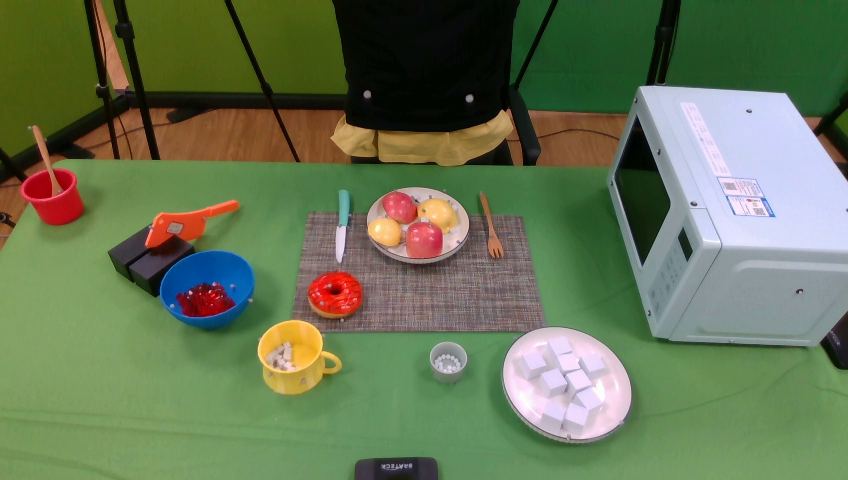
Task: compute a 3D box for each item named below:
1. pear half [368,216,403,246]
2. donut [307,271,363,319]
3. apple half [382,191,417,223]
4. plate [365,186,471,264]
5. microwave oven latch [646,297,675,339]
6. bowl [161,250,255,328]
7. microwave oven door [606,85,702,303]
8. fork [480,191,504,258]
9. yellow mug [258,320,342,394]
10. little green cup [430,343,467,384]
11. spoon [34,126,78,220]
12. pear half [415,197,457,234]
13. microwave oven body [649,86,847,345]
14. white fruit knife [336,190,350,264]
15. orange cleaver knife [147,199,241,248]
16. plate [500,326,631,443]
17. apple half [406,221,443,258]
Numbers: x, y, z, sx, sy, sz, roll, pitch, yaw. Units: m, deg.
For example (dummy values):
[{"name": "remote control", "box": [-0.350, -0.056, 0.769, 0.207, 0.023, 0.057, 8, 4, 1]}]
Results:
[{"name": "pear half", "box": [-0.070, -0.026, 1.183, 0.070, 0.031, 0.087, 33, 46, 0]}, {"name": "donut", "box": [-0.157, 0.097, 1.072, 0.099, 0.048, 0.098, 4, 45, -4]}, {"name": "apple half", "box": [-0.043, -0.072, 1.225, 0.081, 0.033, 0.081, 19, 41, -17]}, {"name": "plate", "box": [-0.013, -0.027, 1.207, 0.209, 0.038, 0.208, 2, 46, -2]}, {"name": "microwave oven latch", "box": [0.412, 0.134, 1.061, 0.030, 0.029, 0.078, 4, 45, 1]}, {"name": "bowl", "box": [-0.362, 0.097, 1.040, 0.151, 0.077, 0.150, 2, 45, -2]}, {"name": "microwave oven door", "box": [0.423, -0.094, 1.140, 0.039, 0.245, 0.353, 2, 46, -1]}, {"name": "fork", "box": [0.136, -0.035, 1.241, 0.028, 0.019, 0.206, -8, 46, 1]}, {"name": "yellow mug", "box": [-0.196, 0.189, 0.971, 0.131, 0.064, 0.099, 9, 46, 4]}, {"name": "little green cup", "box": [0.039, 0.203, 0.993, 0.061, 0.039, 0.061, 2, 46, -2]}, {"name": "spoon", "box": [-0.726, -0.132, 1.188, 0.042, 0.021, 0.194, -18, 95, -21]}, {"name": "pear half", "box": [0.016, -0.065, 1.227, 0.076, 0.056, 0.109, -27, 52, -33]}, {"name": "microwave oven body", "box": [0.567, -0.053, 1.118, 0.326, 0.261, 0.439, 2, 45, -1]}, {"name": "white fruit knife", "box": [-0.164, -0.030, 1.217, 0.027, 0.016, 0.206, -22, 45, 19]}, {"name": "orange cleaver knife", "box": [-0.435, -0.033, 1.157, 0.012, 0.077, 0.211, 31, 27, 19]}, {"name": "plate", "box": [0.224, 0.234, 0.978, 0.208, 0.039, 0.206, 2, 46, -2]}, {"name": "apple half", "box": [0.001, -0.006, 1.164, 0.075, 0.053, 0.080, 5, 42, -1]}]
